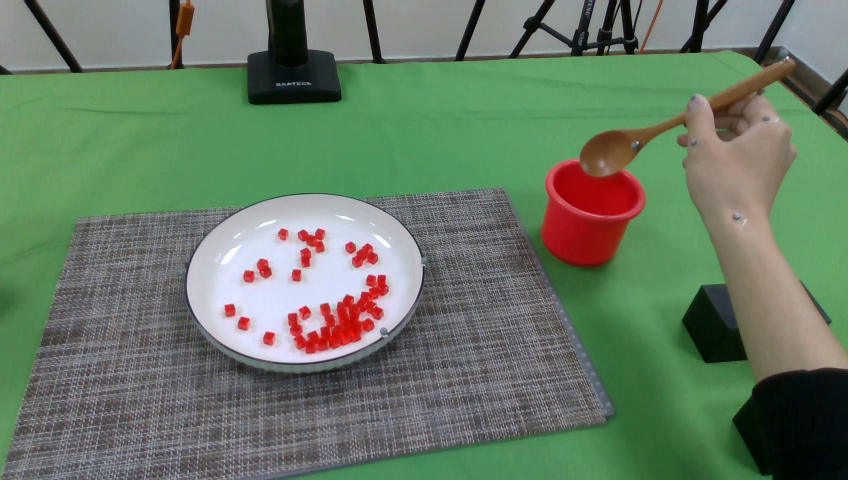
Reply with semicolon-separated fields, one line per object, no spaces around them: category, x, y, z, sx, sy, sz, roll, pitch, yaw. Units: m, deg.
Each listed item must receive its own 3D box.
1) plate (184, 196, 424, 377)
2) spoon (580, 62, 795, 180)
plate;-0.104;0.040;0.548;0.208;0.039;0.205;3;44;-3
spoon;0.217;-0.099;0.523;0.021;0.193;0.041;-29;93;-41
